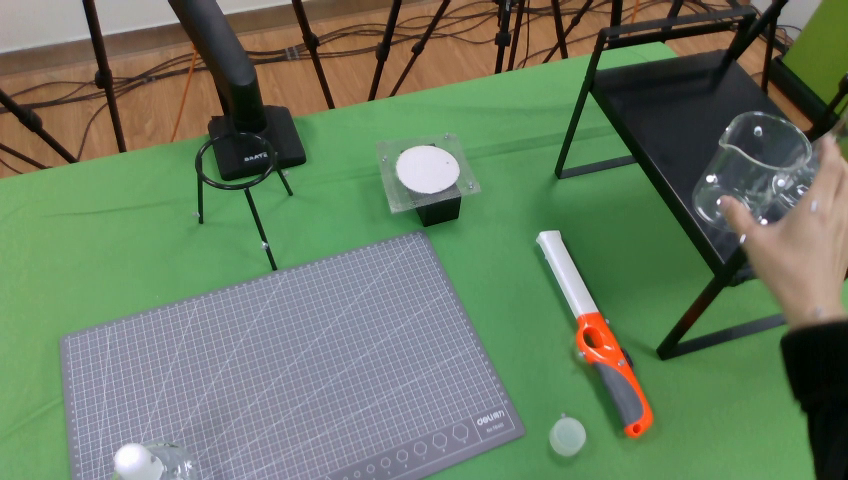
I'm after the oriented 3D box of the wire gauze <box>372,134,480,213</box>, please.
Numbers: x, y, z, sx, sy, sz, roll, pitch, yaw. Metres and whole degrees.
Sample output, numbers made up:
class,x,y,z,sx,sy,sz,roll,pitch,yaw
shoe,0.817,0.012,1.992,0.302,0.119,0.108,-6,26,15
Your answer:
class,x,y,z,sx,sy,sz,roll,pitch,yaw
wire gauze,0.000,-0.095,0.810,0.122,0.011,0.123,-10,55,-11

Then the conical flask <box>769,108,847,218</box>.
class,x,y,z,sx,sy,sz,roll,pitch,yaw
conical flask,0.406,-0.084,0.599,0.075,0.123,0.074,2,54,-2

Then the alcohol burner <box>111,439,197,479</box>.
class,x,y,z,sx,sy,sz,roll,pitch,yaw
alcohol burner,-0.254,0.217,0.559,0.078,0.120,0.077,3,52,-3

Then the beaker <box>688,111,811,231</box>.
class,x,y,z,sx,sy,sz,roll,pitch,yaw
beaker,0.308,-0.063,0.591,0.084,0.101,0.073,2,54,-2

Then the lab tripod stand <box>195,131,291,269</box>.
class,x,y,z,sx,sy,sz,roll,pitch,yaw
lab tripod stand,-0.218,-0.054,0.748,0.148,0.132,0.147,3,54,-4

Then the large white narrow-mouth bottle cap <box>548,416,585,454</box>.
class,x,y,z,sx,sy,sz,roll,pitch,yaw
large white narrow-mouth bottle cap,0.154,0.211,0.655,0.038,0.024,0.037,2,54,-2

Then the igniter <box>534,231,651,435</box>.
class,x,y,z,sx,sy,sz,roll,pitch,yaw
igniter,0.199,0.101,0.732,0.057,0.025,0.273,-5,54,-21

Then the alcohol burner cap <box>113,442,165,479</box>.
class,x,y,z,sx,sy,sz,roll,pitch,yaw
alcohol burner cap,-0.252,0.196,0.530,0.034,0.048,0.033,0,50,1
